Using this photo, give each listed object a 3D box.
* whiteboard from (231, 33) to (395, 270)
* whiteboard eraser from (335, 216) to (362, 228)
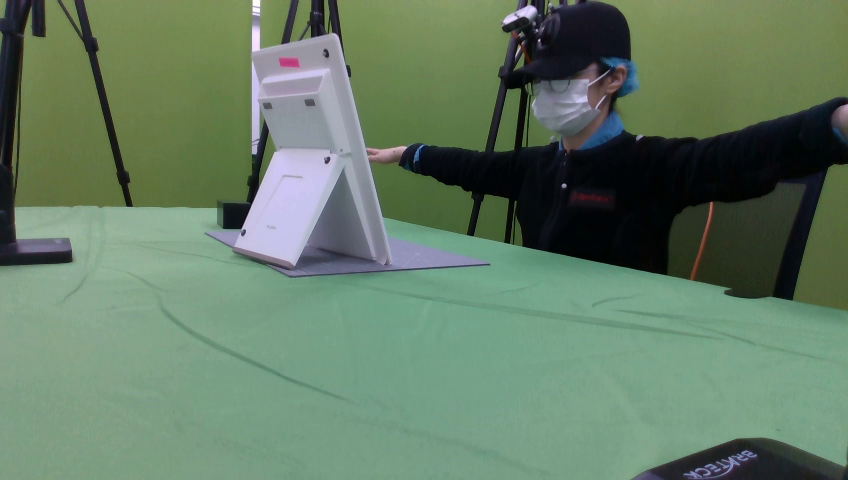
[{"bbox_3d":[-0.193,-0.094,0.805,0.144,0.305,0.216,-28,25,-35],"label":"whiteboard"},{"bbox_3d":[-0.159,-0.039,1.277,0.041,0.019,0.101,3,7,6],"label":"whiteboard eraser"}]
